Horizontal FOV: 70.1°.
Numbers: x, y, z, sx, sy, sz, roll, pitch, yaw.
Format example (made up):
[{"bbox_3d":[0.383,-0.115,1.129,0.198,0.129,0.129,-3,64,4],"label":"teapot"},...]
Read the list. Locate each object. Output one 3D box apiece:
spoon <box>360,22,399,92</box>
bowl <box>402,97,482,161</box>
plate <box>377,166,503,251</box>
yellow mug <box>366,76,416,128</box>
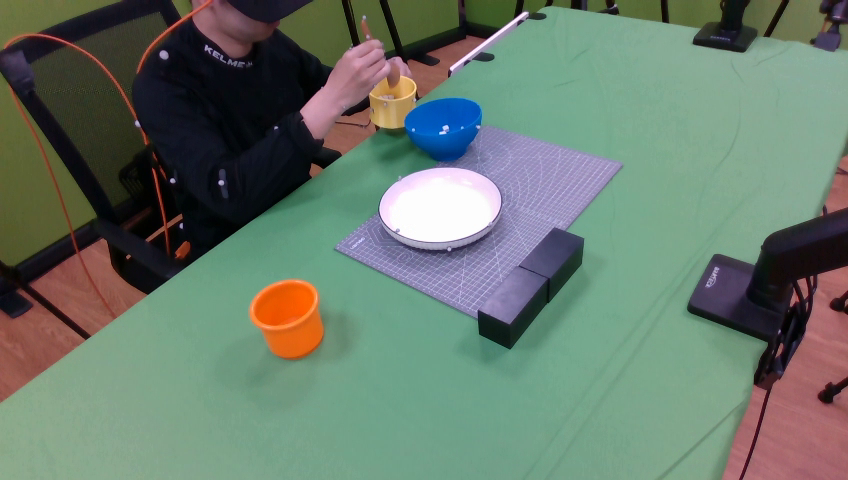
[{"bbox_3d":[-0.082,-0.334,1.112,0.021,0.195,0.041,24,79,26],"label":"spoon"},{"bbox_3d":[0.040,-0.203,1.155,0.151,0.077,0.150,-7,38,6],"label":"bowl"},{"bbox_3d":[0.027,-0.050,1.007,0.209,0.038,0.208,-4,41,4],"label":"plate"},{"bbox_3d":[-0.063,-0.291,1.233,0.100,0.064,0.130,2,43,4],"label":"yellow mug"}]
